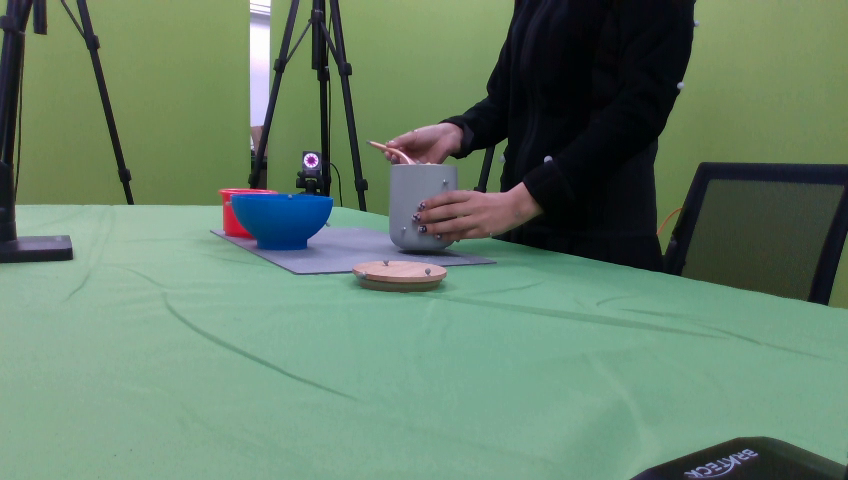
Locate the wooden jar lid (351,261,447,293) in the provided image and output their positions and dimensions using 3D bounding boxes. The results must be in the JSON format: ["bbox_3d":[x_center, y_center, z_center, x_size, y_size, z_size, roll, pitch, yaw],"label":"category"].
[{"bbox_3d":[-0.028,0.041,0.687,0.108,0.020,0.108,3,8,0],"label":"wooden jar lid"}]

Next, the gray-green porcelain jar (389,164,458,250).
[{"bbox_3d":[-0.001,-0.051,0.922,0.106,0.126,0.106,0,4,0],"label":"gray-green porcelain jar"}]

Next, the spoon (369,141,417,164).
[{"bbox_3d":[-0.036,-0.134,0.973,0.042,0.021,0.192,4,23,-38],"label":"spoon"}]

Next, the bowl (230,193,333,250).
[{"bbox_3d":[-0.214,-0.028,0.912,0.151,0.077,0.151,2,8,0],"label":"bowl"}]
